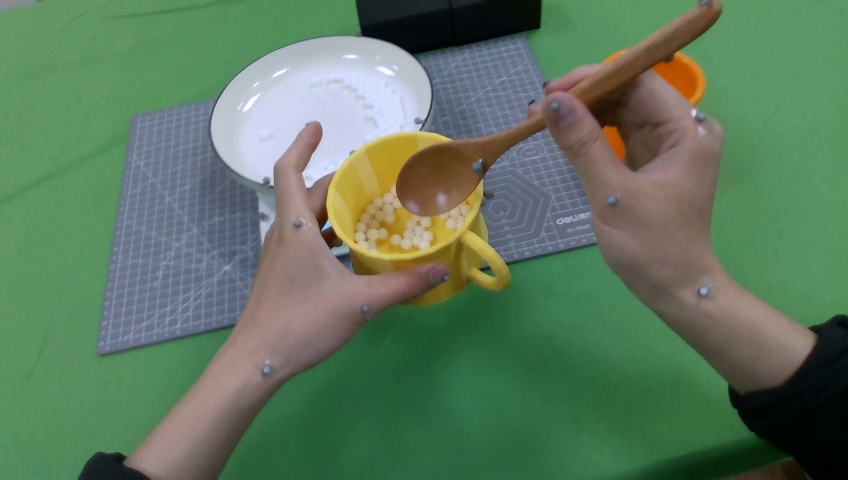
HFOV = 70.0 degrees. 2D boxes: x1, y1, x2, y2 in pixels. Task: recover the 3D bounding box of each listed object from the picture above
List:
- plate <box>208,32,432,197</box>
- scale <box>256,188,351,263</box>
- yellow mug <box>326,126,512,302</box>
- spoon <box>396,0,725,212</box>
[{"bbox_3d":[-0.095,-0.117,0.570,0.209,0.038,0.207,-3,55,4],"label":"plate"},{"bbox_3d":[-0.086,-0.076,0.580,0.149,0.032,0.198,-13,55,-1],"label":"scale"},{"bbox_3d":[0.004,-0.009,0.398,0.130,0.064,0.100,33,72,23],"label":"yellow mug"},{"bbox_3d":[0.058,-0.063,0.311,0.193,0.042,0.021,-26,17,39],"label":"spoon"}]
